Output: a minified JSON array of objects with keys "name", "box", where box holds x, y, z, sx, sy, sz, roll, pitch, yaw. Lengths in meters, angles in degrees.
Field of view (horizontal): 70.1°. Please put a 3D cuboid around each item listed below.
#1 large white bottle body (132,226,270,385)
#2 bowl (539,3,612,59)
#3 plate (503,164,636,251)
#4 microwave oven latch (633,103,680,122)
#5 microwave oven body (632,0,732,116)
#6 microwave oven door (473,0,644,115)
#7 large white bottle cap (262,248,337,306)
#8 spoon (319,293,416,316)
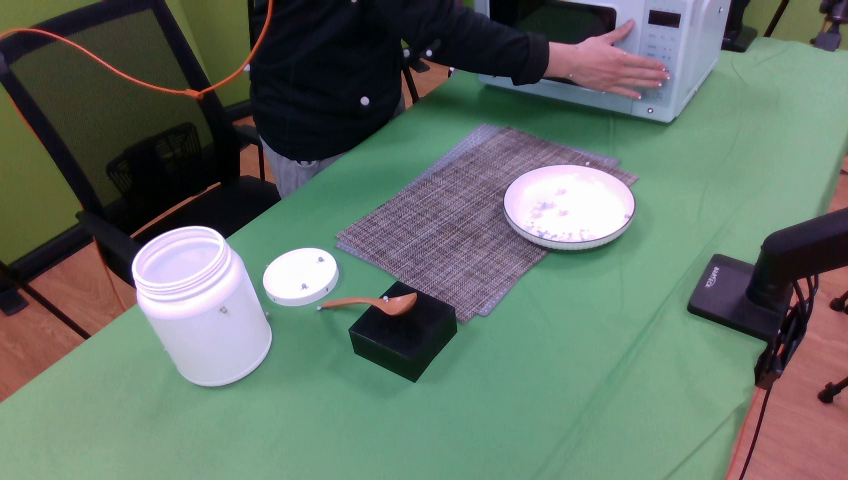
[{"name":"large white bottle body","box":[-0.286,0.085,0.784,0.130,0.185,0.130,-4,41,4]},{"name":"bowl","box":[0.323,-0.441,1.298,0.151,0.077,0.150,-4,42,4]},{"name":"plate","box":[0.231,-0.050,0.976,0.209,0.038,0.208,-3,41,3]},{"name":"microwave oven latch","box":[0.443,-0.249,1.157,0.078,0.029,0.030,21,49,30]},{"name":"microwave oven body","box":[0.377,-0.462,1.267,0.438,0.261,0.327,21,48,30]},{"name":"microwave oven door","box":[0.257,-0.396,1.199,0.353,0.245,0.039,21,48,29]},{"name":"large white bottle cap","box":[-0.193,0.056,0.934,0.115,0.018,0.114,-5,41,4]},{"name":"spoon","box":[-0.082,0.086,0.826,0.192,0.022,0.041,-3,37,41]}]
